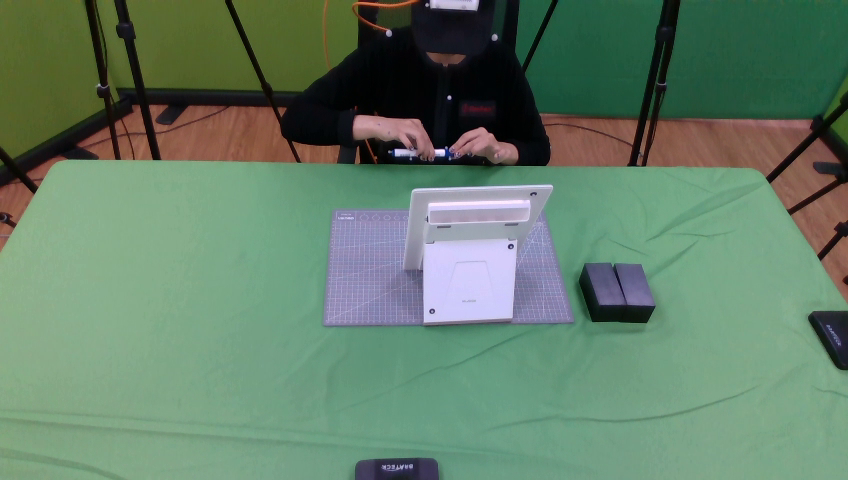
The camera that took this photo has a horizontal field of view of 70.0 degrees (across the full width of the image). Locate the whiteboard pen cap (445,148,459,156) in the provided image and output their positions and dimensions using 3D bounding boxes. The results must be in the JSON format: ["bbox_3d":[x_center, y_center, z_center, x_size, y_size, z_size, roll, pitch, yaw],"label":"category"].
[{"bbox_3d":[0.058,-0.189,1.306,0.033,0.018,0.018,-2,46,-9],"label":"whiteboard pen cap"}]

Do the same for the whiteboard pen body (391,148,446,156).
[{"bbox_3d":[-0.001,-0.188,1.296,0.141,0.017,0.017,-1,46,-8],"label":"whiteboard pen body"}]

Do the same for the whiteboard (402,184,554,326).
[{"bbox_3d":[0.081,0.044,1.005,0.217,0.306,0.143,-1,65,-6],"label":"whiteboard"}]
